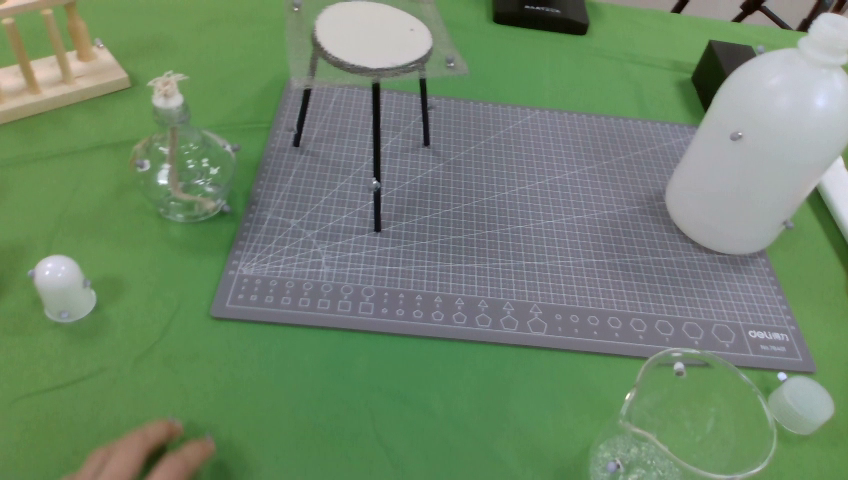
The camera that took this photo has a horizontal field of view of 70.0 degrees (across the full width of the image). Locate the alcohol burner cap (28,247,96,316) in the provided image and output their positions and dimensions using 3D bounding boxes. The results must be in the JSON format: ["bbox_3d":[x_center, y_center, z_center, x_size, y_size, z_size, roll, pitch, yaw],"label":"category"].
[{"bbox_3d":[-0.244,0.026,0.404,0.034,0.048,0.033,6,48,-6],"label":"alcohol burner cap"}]

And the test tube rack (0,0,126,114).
[{"bbox_3d":[-0.394,-0.154,0.506,0.242,0.086,0.066,-28,59,-29],"label":"test tube rack"}]

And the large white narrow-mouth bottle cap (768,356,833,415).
[{"bbox_3d":[0.268,0.104,0.433,0.038,0.024,0.037,4,49,-4],"label":"large white narrow-mouth bottle cap"}]

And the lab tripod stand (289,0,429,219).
[{"bbox_3d":[-0.046,-0.113,0.491,0.149,0.132,0.147,6,50,-6],"label":"lab tripod stand"}]

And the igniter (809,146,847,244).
[{"bbox_3d":[0.389,0.015,0.522,0.057,0.025,0.274,-9,49,13],"label":"igniter"}]

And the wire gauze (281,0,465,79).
[{"bbox_3d":[-0.042,-0.158,0.441,0.122,0.011,0.123,-4,52,-14],"label":"wire gauze"}]

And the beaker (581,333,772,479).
[{"bbox_3d":[0.135,0.113,0.352,0.084,0.101,0.073,-3,49,-10],"label":"beaker"}]

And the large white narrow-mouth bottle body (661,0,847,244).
[{"bbox_3d":[0.271,-0.093,0.483,0.102,0.196,0.101,4,49,-4],"label":"large white narrow-mouth bottle body"}]

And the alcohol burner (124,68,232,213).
[{"bbox_3d":[-0.186,-0.077,0.455,0.078,0.120,0.077,6,48,-6],"label":"alcohol burner"}]
